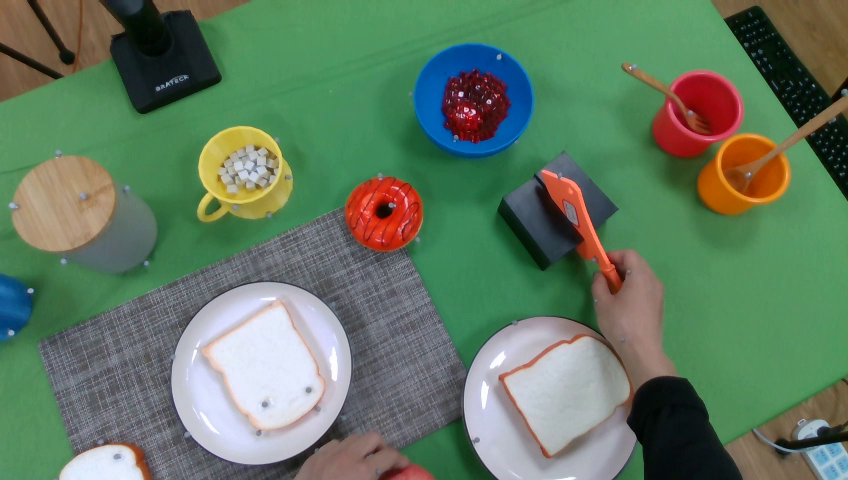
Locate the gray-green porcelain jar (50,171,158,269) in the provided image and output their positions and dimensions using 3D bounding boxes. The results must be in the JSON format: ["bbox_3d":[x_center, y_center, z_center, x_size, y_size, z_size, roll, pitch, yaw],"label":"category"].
[{"bbox_3d":[-0.381,-0.025,0.706,0.106,0.127,0.105,0,75,-1],"label":"gray-green porcelain jar"}]

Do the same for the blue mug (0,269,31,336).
[{"bbox_3d":[-0.531,0.077,0.686,0.082,0.106,0.116,37,78,8],"label":"blue mug"}]

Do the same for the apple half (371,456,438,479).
[{"bbox_3d":[-0.021,0.268,0.671,0.081,0.075,0.053,-2,69,3],"label":"apple half"}]

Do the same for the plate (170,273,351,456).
[{"bbox_3d":[-0.188,0.144,0.711,0.208,0.039,0.206,0,76,-2],"label":"plate"}]

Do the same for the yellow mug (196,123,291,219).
[{"bbox_3d":[-0.233,-0.076,0.754,0.099,0.064,0.130,40,79,8],"label":"yellow mug"}]

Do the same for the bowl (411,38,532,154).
[{"bbox_3d":[0.058,-0.171,0.780,0.151,0.077,0.150,0,76,-1],"label":"bowl"}]

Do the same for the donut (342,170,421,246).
[{"bbox_3d":[-0.053,-0.040,0.757,0.099,0.048,0.098,0,77,-2],"label":"donut"}]

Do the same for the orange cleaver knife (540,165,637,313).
[{"bbox_3d":[0.200,0.000,0.738,0.012,0.076,0.213,-35,109,-11],"label":"orange cleaver knife"}]

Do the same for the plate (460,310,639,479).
[{"bbox_3d":[0.145,0.187,0.713,0.209,0.038,0.208,0,76,-1],"label":"plate"}]

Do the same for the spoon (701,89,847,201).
[{"bbox_3d":[0.427,-0.114,0.739,0.022,0.194,0.041,-17,69,-52],"label":"spoon"}]

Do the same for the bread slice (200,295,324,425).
[{"bbox_3d":[-0.180,0.146,0.712,0.107,0.018,0.133,-36,79,-9],"label":"bread slice"}]

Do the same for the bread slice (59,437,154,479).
[{"bbox_3d":[-0.357,0.292,0.680,0.105,0.019,0.131,-18,79,-7],"label":"bread slice"}]

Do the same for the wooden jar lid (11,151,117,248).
[{"bbox_3d":[-0.380,-0.042,0.646,0.108,0.021,0.108,0,74,0],"label":"wooden jar lid"}]

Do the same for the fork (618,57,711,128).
[{"bbox_3d":[0.303,-0.181,0.752,0.209,0.018,0.028,18,70,-40],"label":"fork"}]
